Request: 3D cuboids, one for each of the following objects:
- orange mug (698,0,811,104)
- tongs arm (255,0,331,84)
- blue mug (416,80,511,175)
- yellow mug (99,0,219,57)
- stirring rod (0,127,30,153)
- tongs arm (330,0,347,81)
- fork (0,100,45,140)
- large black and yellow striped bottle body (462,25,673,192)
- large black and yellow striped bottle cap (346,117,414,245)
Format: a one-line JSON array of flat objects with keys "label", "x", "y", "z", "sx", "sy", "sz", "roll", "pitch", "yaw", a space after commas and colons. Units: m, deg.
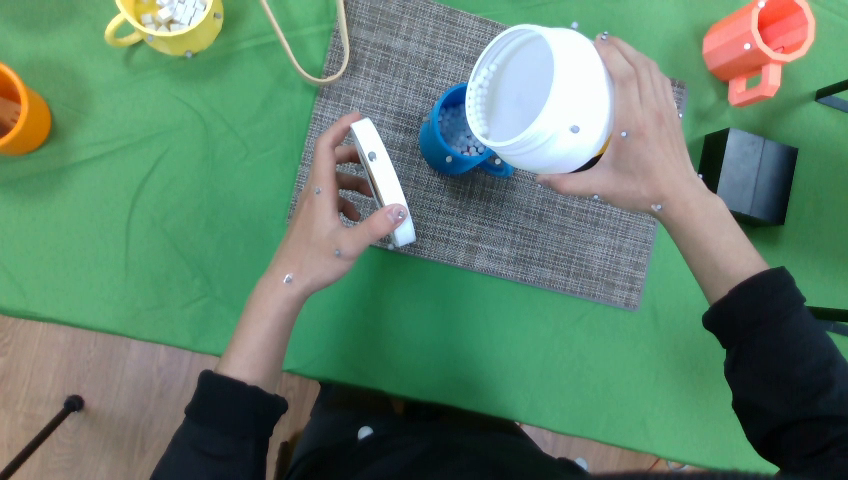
[{"label": "orange mug", "x": 0.408, "y": -0.238, "z": 0.755, "sx": 0.084, "sy": 0.101, "sz": 0.126, "roll": 4, "pitch": 84, "yaw": -9}, {"label": "tongs arm", "x": -0.204, "y": -0.349, "z": 0.661, "sx": 0.051, "sy": 0.026, "sz": 0.386, "roll": -25, "pitch": 101, "yaw": -12}, {"label": "blue mug", "x": 0.050, "y": -0.114, "z": 0.684, "sx": 0.117, "sy": 0.105, "sz": 0.082, "roll": 40, "pitch": 83, "yaw": -7}, {"label": "yellow mug", "x": -0.290, "y": -0.247, "z": 0.651, "sx": 0.131, "sy": 0.064, "sz": 0.100, "roll": -38, "pitch": 96, "yaw": -7}, {"label": "stirring rod", "x": -0.468, "y": -0.132, "z": 0.579, "sx": 0.006, "sy": 0.178, "sz": 0.014, "roll": 4, "pitch": 69, "yaw": 33}, {"label": "tongs arm", "x": -0.126, "y": -0.377, "z": 0.678, "sx": 0.028, "sy": 0.027, "sz": 0.388, "roll": -12, "pitch": 98, "yaw": -18}, {"label": "fork", "x": -0.471, "y": -0.152, "z": 0.576, "sx": 0.209, "sy": 0.018, "sz": 0.028, "roll": 33, "pitch": 81, "yaw": -51}, {"label": "large black and yellow striped bottle body", "x": 0.138, "y": -0.124, "z": 0.586, "sx": 0.185, "sy": 0.130, "sz": 0.130, "roll": 8, "pitch": 87, "yaw": -40}, {"label": "large black and yellow striped bottle cap", "x": -0.039, "y": -0.051, "z": 0.531, "sx": 0.019, "sy": 0.115, "sz": 0.115, "roll": -23, "pitch": 93, "yaw": -9}]
